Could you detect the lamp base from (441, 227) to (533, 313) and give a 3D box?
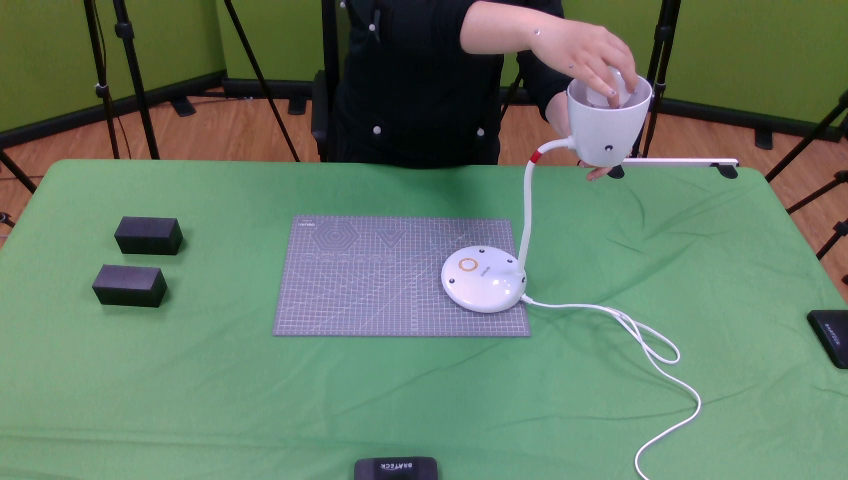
[{"bbox_3d":[0.126,0.022,1.071,0.179,0.181,0.160,23,49,14],"label":"lamp base"}]

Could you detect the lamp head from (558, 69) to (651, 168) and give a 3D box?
[{"bbox_3d":[0.251,-0.164,0.860,0.112,0.123,0.111,0,42,0],"label":"lamp head"}]

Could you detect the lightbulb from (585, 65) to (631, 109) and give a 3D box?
[{"bbox_3d":[0.254,-0.190,0.844,0.059,0.108,0.059,-5,40,4],"label":"lightbulb"}]
